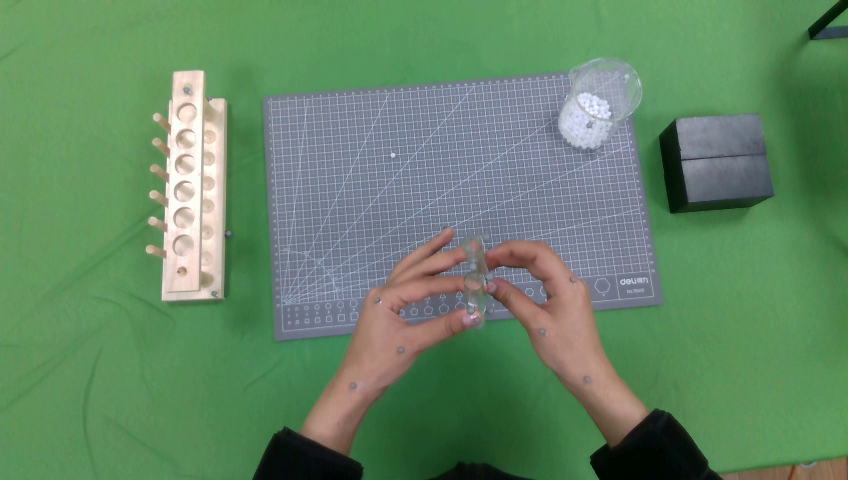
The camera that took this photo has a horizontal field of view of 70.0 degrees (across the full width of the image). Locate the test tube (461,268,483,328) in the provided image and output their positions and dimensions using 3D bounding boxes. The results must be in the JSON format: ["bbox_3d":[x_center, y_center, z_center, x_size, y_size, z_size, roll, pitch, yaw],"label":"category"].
[{"bbox_3d":[0.041,0.052,0.498,0.017,0.151,0.017,-2,70,5],"label":"test tube"}]

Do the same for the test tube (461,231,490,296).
[{"bbox_3d":[0.045,0.024,0.516,0.017,0.151,0.017,-3,71,8],"label":"test tube"}]

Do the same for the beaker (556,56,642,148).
[{"bbox_3d":[0.193,-0.155,0.696,0.084,0.100,0.074,32,80,7],"label":"beaker"}]

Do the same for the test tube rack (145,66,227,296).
[{"bbox_3d":[-0.269,-0.062,0.679,0.067,0.085,0.241,-2,79,-1],"label":"test tube rack"}]
